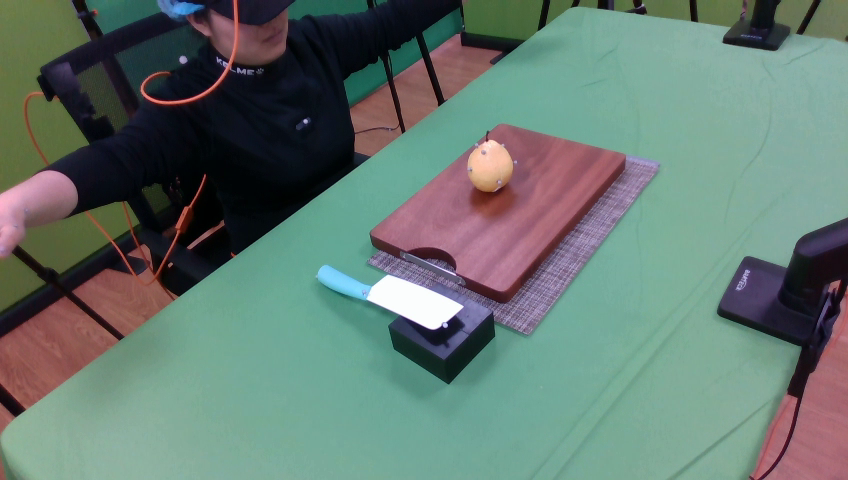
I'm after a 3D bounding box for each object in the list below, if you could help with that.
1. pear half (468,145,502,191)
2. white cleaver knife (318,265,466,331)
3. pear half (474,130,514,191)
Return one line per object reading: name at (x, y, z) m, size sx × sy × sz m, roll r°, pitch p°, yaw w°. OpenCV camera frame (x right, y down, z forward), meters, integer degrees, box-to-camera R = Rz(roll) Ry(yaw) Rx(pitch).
pear half at (0.097, -0.116, 1.007) m, size 0.070 × 0.088 × 0.031 m, roll 27°, pitch 52°, yaw 26°
white cleaver knife at (-0.056, 0.075, 0.871) m, size 0.284 × 0.021 × 0.066 m, roll 17°, pitch 42°, yaw 43°
pear half at (0.119, -0.142, 1.020) m, size 0.076 × 0.110 × 0.056 m, roll 26°, pitch 51°, yaw 30°
